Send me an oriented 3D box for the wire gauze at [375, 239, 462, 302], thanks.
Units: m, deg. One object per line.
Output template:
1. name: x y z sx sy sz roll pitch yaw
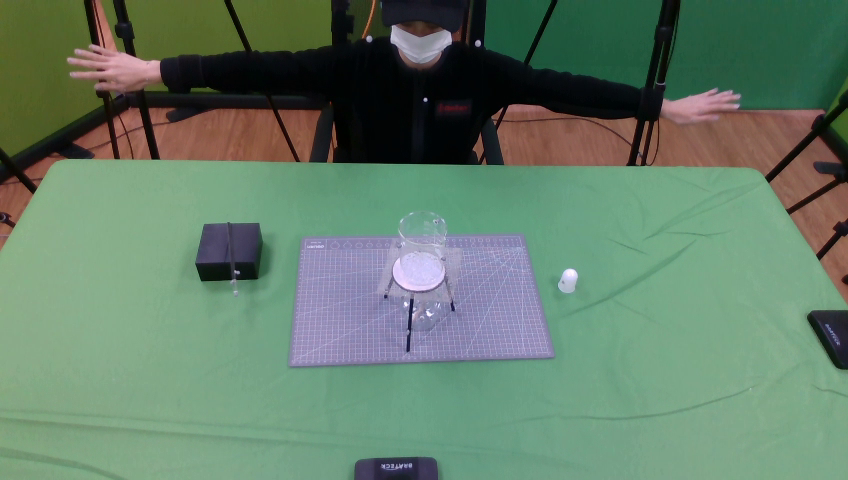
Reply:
1. wire gauze: -0.006 0.049 0.977 0.121 0.011 0.124 10 44 5

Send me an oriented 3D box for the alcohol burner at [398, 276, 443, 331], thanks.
1. alcohol burner: -0.005 0.100 1.033 0.078 0.119 0.077 3 48 -3

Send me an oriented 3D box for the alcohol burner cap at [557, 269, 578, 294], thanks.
1. alcohol burner cap: 0.270 0.074 1.135 0.034 0.048 0.033 2 46 -2

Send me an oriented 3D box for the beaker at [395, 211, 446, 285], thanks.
1. beaker: -0.002 0.017 0.941 0.083 0.101 0.074 36 54 29

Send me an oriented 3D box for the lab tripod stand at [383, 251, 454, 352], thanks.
1. lab tripod stand: -0.016 0.094 1.025 0.148 0.132 0.147 1 46 -1

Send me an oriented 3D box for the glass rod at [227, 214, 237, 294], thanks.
1. glass rod: -0.347 0.022 1.092 0.008 0.008 0.198 -9 47 -13
